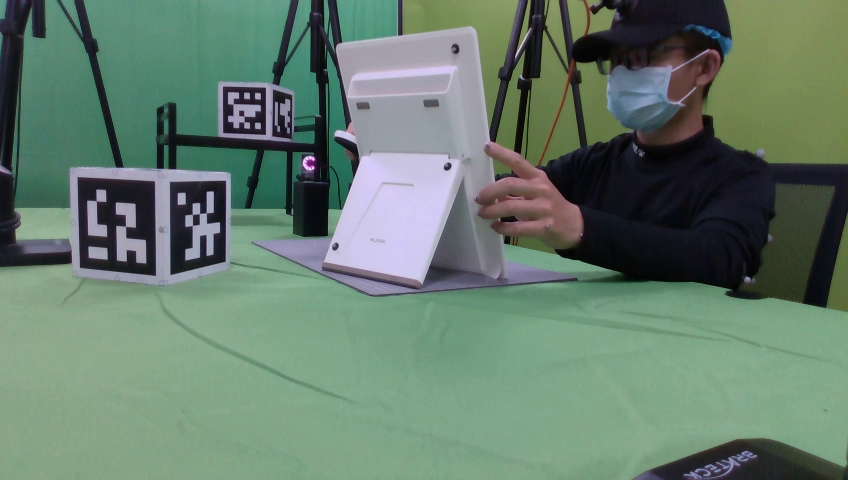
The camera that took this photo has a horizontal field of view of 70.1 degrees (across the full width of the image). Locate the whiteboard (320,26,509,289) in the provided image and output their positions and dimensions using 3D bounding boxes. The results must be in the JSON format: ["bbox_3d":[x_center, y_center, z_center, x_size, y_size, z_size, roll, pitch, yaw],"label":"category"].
[{"bbox_3d":[-0.045,-0.076,0.721,0.216,0.305,0.144,9,29,39],"label":"whiteboard"}]

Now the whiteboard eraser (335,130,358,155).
[{"bbox_3d":[-0.108,-0.156,0.995,0.041,0.019,0.102,16,-5,31],"label":"whiteboard eraser"}]
